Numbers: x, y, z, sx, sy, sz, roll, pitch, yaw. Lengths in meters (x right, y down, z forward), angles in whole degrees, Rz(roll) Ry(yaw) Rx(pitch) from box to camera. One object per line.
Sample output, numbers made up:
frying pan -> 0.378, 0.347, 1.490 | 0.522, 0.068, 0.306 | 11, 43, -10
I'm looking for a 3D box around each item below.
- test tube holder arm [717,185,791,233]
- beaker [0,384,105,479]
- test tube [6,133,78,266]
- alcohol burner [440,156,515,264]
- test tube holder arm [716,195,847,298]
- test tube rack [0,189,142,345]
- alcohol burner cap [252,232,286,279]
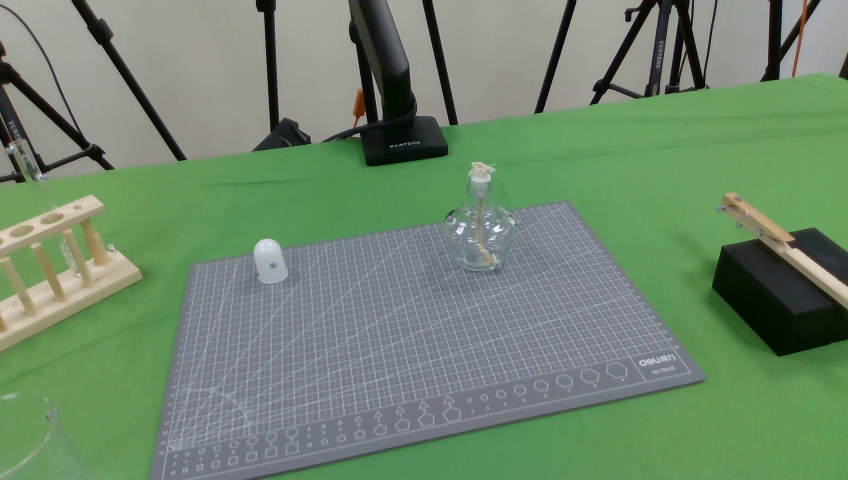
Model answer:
test tube holder arm -> 0.317, -0.028, 0.584 | 0.015, 0.010, 0.087 | -10, 36, -10
beaker -> -0.271, 0.160, 0.410 | 0.084, 0.101, 0.073 | -5, 36, 0
test tube -> -0.386, -0.037, 0.621 | 0.017, 0.151, 0.017 | -5, 32, 4
alcohol burner -> 0.055, -0.034, 0.626 | 0.078, 0.120, 0.077 | -1, 36, 1
test tube holder arm -> 0.328, 0.001, 0.551 | 0.015, 0.013, 0.176 | -10, 35, -10
test tube rack -> -0.421, 0.045, 0.597 | 0.066, 0.086, 0.242 | 28, 47, 36
alcohol burner cap -> -0.167, 0.014, 0.644 | 0.034, 0.048, 0.033 | -3, 36, 3
